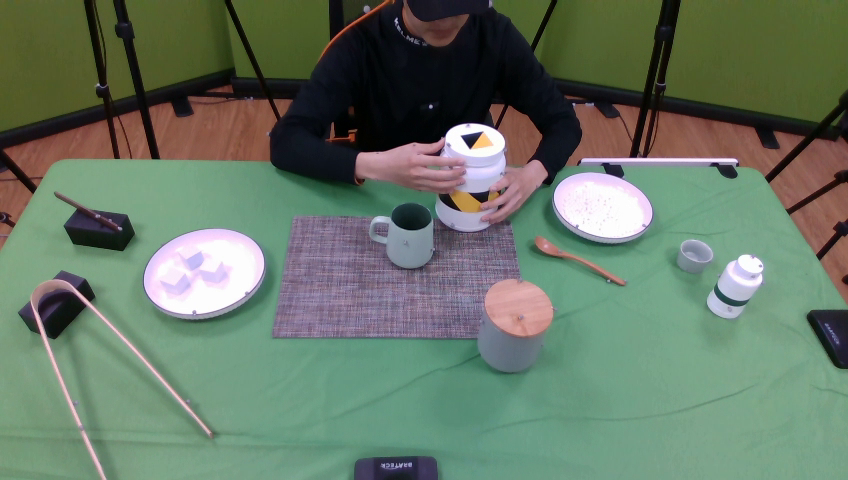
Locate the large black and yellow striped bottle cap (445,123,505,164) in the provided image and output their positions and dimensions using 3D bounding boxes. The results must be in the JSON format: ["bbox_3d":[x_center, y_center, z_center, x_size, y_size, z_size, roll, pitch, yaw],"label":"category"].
[{"bbox_3d":[0.097,-0.185,1.149,0.115,0.019,0.114,3,44,-3],"label":"large black and yellow striped bottle cap"}]

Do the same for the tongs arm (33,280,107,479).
[{"bbox_3d":[-0.517,0.214,0.909,0.051,0.026,0.383,-29,63,-26],"label":"tongs arm"}]

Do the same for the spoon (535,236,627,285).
[{"bbox_3d":[0.304,0.040,1.178,0.193,0.022,0.041,25,33,19],"label":"spoon"}]

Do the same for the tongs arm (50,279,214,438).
[{"bbox_3d":[-0.459,0.178,0.949,0.386,0.028,0.028,38,60,17],"label":"tongs arm"}]

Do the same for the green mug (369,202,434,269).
[{"bbox_3d":[-0.042,-0.010,1.140,0.125,0.105,0.092,8,47,4],"label":"green mug"}]

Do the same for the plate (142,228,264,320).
[{"bbox_3d":[-0.394,0.064,1.095,0.208,0.039,0.206,2,46,-2],"label":"plate"}]

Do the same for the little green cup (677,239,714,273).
[{"bbox_3d":[0.530,0.033,1.189,0.061,0.039,0.061,2,47,-2],"label":"little green cup"}]

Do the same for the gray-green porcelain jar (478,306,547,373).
[{"bbox_3d":[0.144,0.148,0.989,0.106,0.127,0.105,2,50,-2],"label":"gray-green porcelain jar"}]

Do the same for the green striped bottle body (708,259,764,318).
[{"bbox_3d":[0.563,0.081,1.089,0.063,0.120,0.063,2,46,-2],"label":"green striped bottle body"}]

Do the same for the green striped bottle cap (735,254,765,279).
[{"bbox_3d":[0.566,0.046,1.051,0.044,0.020,0.044,0,45,0],"label":"green striped bottle cap"}]

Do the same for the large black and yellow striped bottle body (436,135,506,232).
[{"bbox_3d":[0.092,-0.123,1.205,0.131,0.185,0.130,2,43,-2],"label":"large black and yellow striped bottle body"}]

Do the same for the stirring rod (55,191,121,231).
[{"bbox_3d":[-0.632,-0.055,1.138,0.175,0.014,0.006,24,51,19],"label":"stirring rod"}]

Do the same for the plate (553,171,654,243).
[{"bbox_3d":[0.373,-0.066,1.274,0.209,0.038,0.208,2,46,-2],"label":"plate"}]

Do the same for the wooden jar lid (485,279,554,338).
[{"bbox_3d":[0.147,0.108,0.940,0.108,0.021,0.107,4,47,-4],"label":"wooden jar lid"}]
